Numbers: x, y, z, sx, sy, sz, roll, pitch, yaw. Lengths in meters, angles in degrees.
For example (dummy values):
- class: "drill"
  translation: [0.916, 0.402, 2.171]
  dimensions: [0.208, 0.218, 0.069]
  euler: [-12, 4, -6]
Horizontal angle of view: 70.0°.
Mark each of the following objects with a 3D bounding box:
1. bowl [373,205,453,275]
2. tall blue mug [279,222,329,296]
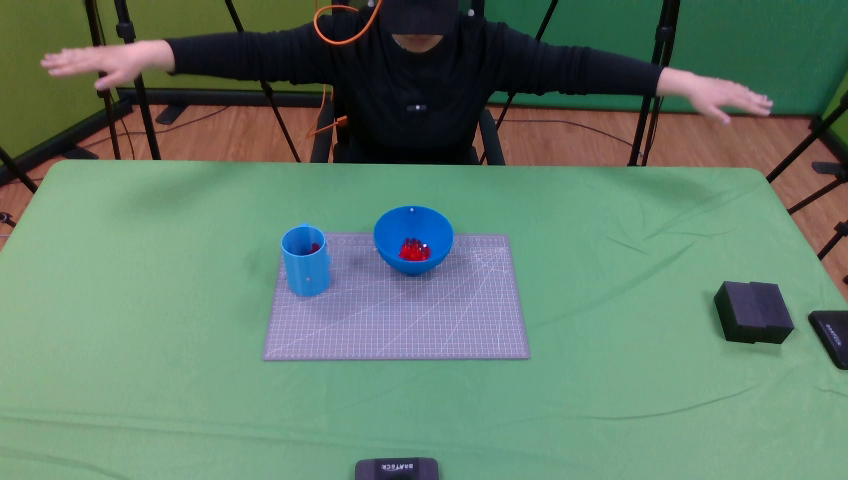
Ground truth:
- class: "bowl"
  translation: [-0.022, 0.013, 1.143]
  dimensions: [0.151, 0.077, 0.150]
  euler: [2, 46, -2]
- class: "tall blue mug"
  translation: [-0.221, 0.029, 1.090]
  dimensions: [0.078, 0.108, 0.106]
  euler: [-26, 53, -25]
